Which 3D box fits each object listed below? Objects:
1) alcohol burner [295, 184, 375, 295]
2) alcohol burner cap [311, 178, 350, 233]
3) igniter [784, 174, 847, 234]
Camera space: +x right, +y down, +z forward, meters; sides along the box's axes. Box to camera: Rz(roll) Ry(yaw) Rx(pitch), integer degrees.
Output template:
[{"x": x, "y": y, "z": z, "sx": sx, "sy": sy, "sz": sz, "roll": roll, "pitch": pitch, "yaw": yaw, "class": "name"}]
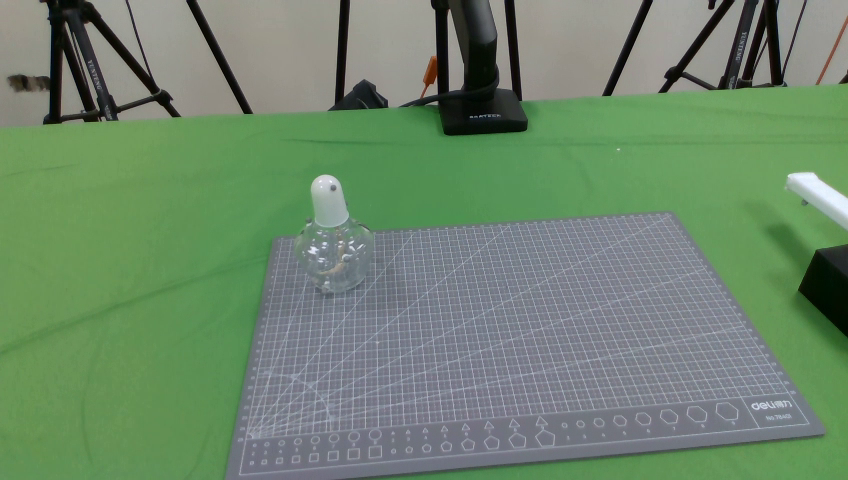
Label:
[{"x": -0.086, "y": -0.005, "z": 0.576, "sx": 0.078, "sy": 0.120, "sz": 0.077, "roll": 0, "pitch": 39, "yaw": 0, "class": "alcohol burner"}, {"x": -0.087, "y": -0.034, "z": 0.555, "sx": 0.034, "sy": 0.048, "sz": 0.033, "roll": -2, "pitch": 39, "yaw": 2, "class": "alcohol burner cap"}, {"x": 0.420, "y": 0.009, "z": 0.540, "sx": 0.057, "sy": 0.025, "sz": 0.273, "roll": -5, "pitch": 33, "yaw": -6, "class": "igniter"}]
